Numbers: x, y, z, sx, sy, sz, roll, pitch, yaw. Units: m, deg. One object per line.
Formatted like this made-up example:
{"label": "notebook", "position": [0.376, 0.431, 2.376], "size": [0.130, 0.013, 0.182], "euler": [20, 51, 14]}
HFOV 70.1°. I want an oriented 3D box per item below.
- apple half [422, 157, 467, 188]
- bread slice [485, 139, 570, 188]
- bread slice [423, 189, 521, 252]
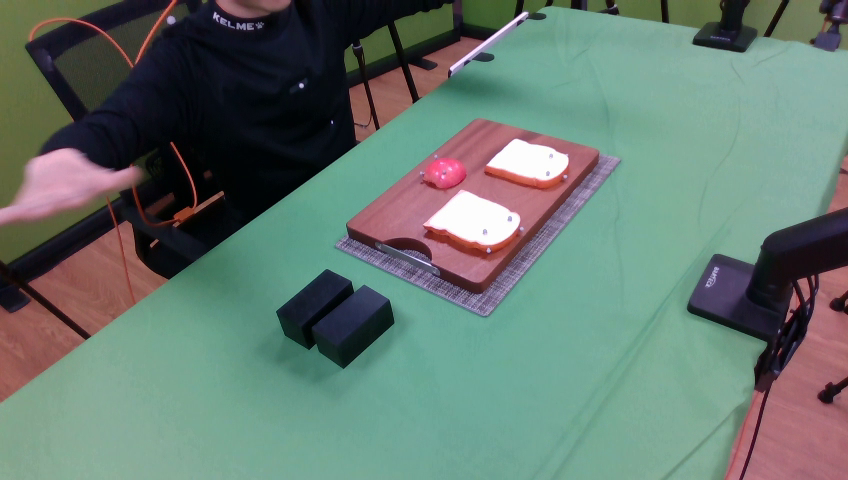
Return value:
{"label": "apple half", "position": [0.035, -0.128, 1.061], "size": [0.081, 0.033, 0.081], "euler": [-6, 42, 6]}
{"label": "bread slice", "position": [0.189, -0.135, 1.059], "size": [0.130, 0.019, 0.105], "euler": [21, 49, 30]}
{"label": "bread slice", "position": [0.083, -0.029, 0.949], "size": [0.133, 0.018, 0.107], "euler": [22, 49, 28]}
